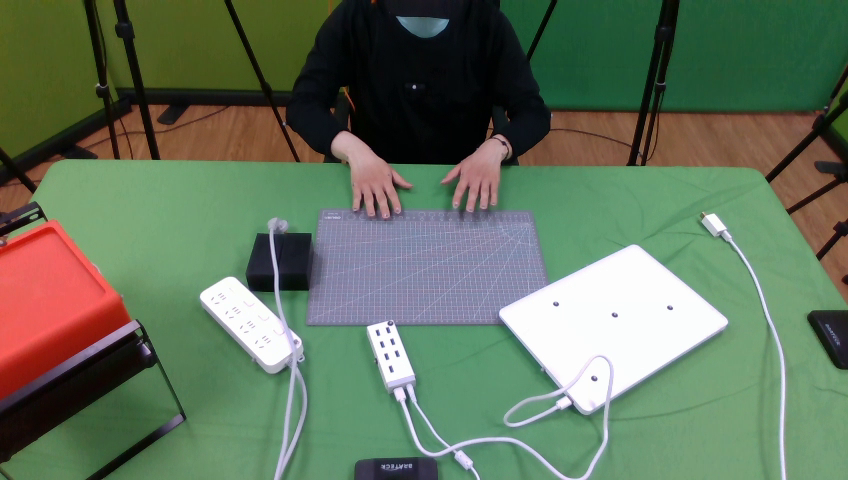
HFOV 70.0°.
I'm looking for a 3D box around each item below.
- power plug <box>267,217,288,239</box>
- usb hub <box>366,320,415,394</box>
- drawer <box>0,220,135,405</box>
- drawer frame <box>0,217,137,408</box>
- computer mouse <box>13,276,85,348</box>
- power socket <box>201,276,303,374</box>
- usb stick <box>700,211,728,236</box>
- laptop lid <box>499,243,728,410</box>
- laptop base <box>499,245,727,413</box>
[{"bbox_3d":[-0.286,-0.014,1.168,0.035,0.053,0.072,-14,37,23],"label":"power plug"},{"bbox_3d":[-0.056,0.192,1.009,0.049,0.025,0.124,-12,49,-16],"label":"usb hub"},{"bbox_3d":[-0.522,0.093,0.782,0.193,0.073,0.211,38,55,27],"label":"drawer"},{"bbox_3d":[-0.523,0.094,0.779,0.200,0.083,0.213,37,55,26],"label":"drawer frame"},{"bbox_3d":[-0.497,0.090,0.804,0.063,0.041,0.116,-7,42,-7],"label":"computer mouse"},{"bbox_3d":[-0.296,0.141,1.034,0.225,0.033,0.072,37,55,26],"label":"power socket"},{"bbox_3d":[0.606,-0.038,1.273,0.027,0.021,0.059,-18,57,-20],"label":"usb stick"},{"bbox_3d":[0.338,0.135,1.081,0.357,0.013,0.240,-21,50,-23],"label":"laptop lid"},{"bbox_3d":[0.339,0.145,1.088,0.354,0.023,0.234,-23,49,-24],"label":"laptop base"}]
